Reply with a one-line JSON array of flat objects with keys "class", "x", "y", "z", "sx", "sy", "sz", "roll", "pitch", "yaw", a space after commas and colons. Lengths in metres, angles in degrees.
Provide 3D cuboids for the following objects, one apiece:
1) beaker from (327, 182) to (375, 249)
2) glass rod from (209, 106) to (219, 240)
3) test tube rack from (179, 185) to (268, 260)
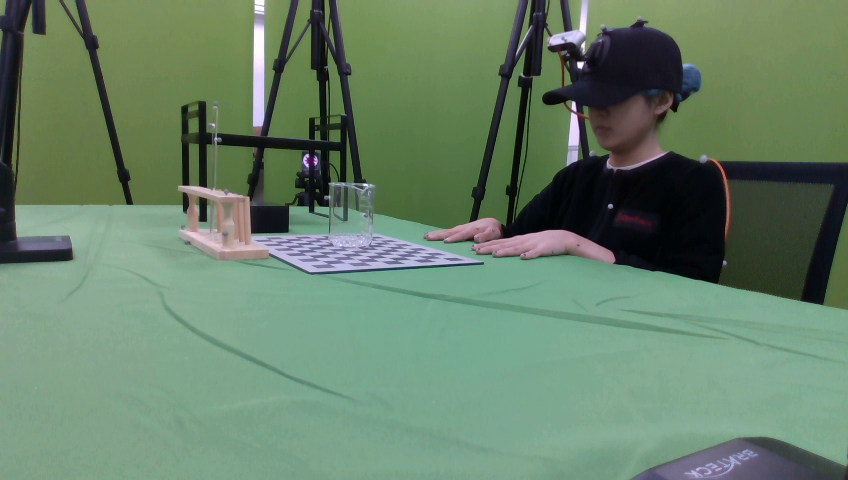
[{"class": "beaker", "x": -0.114, "y": -0.039, "z": 0.950, "sx": 0.074, "sy": 0.100, "sz": 0.083, "roll": -2, "pitch": 9, "yaw": -31}, {"class": "glass rod", "x": -0.305, "y": -0.096, "z": 0.878, "sx": 0.008, "sy": 0.199, "sz": 0.008, "roll": 2, "pitch": 0, "yaw": 0}, {"class": "test tube rack", "x": -0.303, "y": -0.031, "z": 0.898, "sx": 0.067, "sy": 0.085, "sz": 0.241, "roll": -2, "pitch": 9, "yaw": -33}]
